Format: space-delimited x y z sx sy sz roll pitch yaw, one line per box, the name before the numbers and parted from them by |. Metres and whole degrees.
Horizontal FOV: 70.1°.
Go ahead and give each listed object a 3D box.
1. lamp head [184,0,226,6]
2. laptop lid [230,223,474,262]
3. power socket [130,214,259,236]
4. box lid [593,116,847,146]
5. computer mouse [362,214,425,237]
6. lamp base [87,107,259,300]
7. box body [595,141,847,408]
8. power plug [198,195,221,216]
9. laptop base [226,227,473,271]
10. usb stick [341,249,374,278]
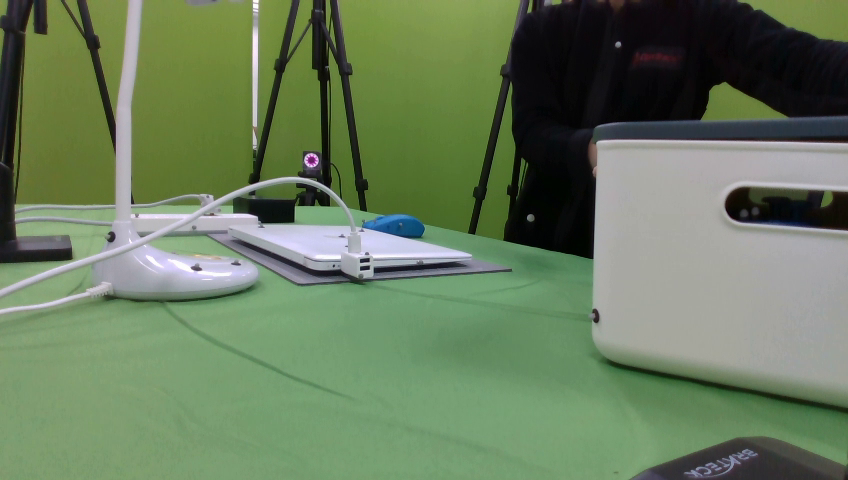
lamp head | -0.229 -0.320 0.627 0.112 0.112 0.123 6 -35 26
laptop lid | -0.121 0.000 0.888 0.243 0.013 0.355 1 7 -33
power socket | -0.397 -0.028 1.048 0.228 0.032 0.072 -3 7 -35
box lid | 0.312 -0.075 0.507 0.262 0.015 0.373 3 5 29
computer mouse | -0.057 -0.028 1.139 0.118 0.041 0.062 -2 9 -20
lamp base | -0.254 -0.039 0.603 0.160 0.180 0.179 5 10 18
box body | 0.309 0.007 0.510 0.253 0.160 0.366 6 8 29
power plug | -0.386 -0.055 1.088 0.035 0.052 0.072 -1 6 -24
laptop base | -0.124 0.011 0.889 0.237 0.023 0.352 2 6 -35
usb stick | -0.078 0.026 0.686 0.021 0.027 0.059 -8 8 -30
